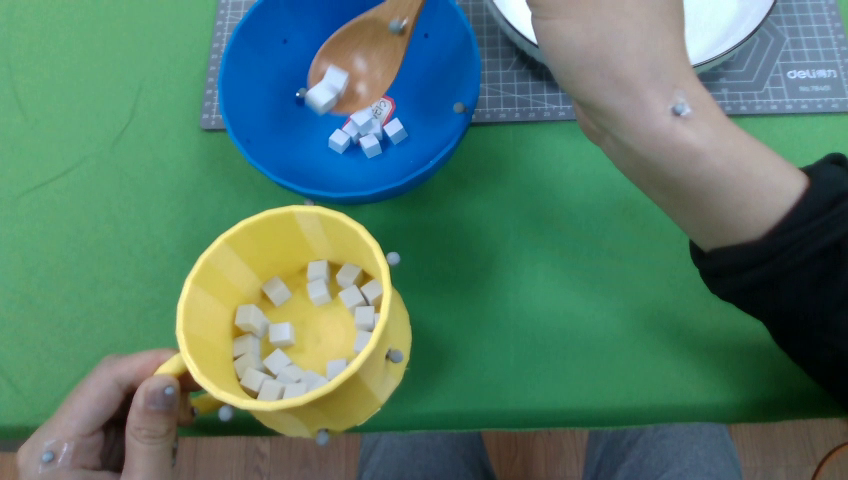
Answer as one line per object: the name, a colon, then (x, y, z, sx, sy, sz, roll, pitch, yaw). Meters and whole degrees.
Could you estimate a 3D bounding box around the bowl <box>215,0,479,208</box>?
bowl: (-0.041, -0.082, 0.378, 0.151, 0.077, 0.150, -1, 74, 3)

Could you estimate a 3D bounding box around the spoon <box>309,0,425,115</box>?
spoon: (0.012, -0.130, 0.277, 0.194, 0.021, 0.041, -41, 86, 28)

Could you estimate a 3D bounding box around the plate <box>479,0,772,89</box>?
plate: (0.135, -0.192, 0.428, 0.209, 0.038, 0.207, -1, 70, 3)

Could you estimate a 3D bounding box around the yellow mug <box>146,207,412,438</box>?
yellow mug: (-0.073, 0.050, 0.299, 0.131, 0.064, 0.099, -31, 63, -8)
